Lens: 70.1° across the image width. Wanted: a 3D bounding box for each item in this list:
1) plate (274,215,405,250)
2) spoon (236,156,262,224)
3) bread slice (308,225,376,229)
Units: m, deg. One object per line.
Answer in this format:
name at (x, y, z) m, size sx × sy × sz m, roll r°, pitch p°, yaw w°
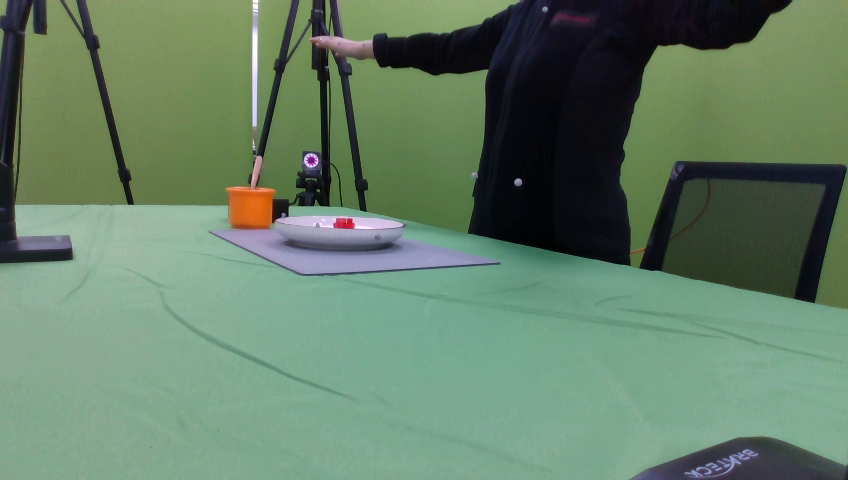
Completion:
plate at (-0.136, -0.013, 0.981) m, size 0.209 × 0.038 × 0.209 m, roll 2°, pitch 7°, yaw 0°
spoon at (-0.338, -0.102, 1.197) m, size 0.042 × 0.193 × 0.021 m, roll 1°, pitch -37°, yaw -4°
bread slice at (-0.133, -0.011, 0.974) m, size 0.135 × 0.018 × 0.106 m, roll -3°, pitch 8°, yaw -33°
